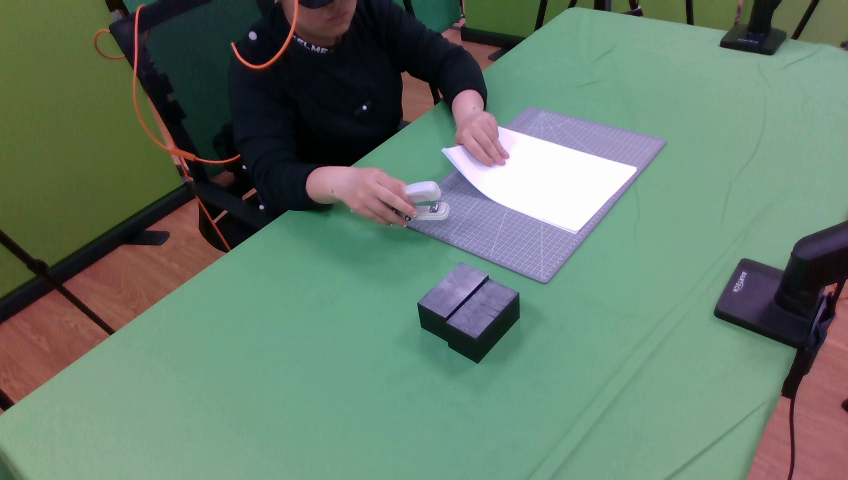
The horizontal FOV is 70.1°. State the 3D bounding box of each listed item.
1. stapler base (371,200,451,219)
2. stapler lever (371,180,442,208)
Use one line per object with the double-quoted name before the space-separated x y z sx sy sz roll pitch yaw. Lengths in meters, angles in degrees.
"stapler base" -0.023 -0.055 0.988 0.130 0.024 0.041 -1 41 14
"stapler lever" -0.029 -0.073 0.971 0.118 0.040 0.027 -1 41 14
